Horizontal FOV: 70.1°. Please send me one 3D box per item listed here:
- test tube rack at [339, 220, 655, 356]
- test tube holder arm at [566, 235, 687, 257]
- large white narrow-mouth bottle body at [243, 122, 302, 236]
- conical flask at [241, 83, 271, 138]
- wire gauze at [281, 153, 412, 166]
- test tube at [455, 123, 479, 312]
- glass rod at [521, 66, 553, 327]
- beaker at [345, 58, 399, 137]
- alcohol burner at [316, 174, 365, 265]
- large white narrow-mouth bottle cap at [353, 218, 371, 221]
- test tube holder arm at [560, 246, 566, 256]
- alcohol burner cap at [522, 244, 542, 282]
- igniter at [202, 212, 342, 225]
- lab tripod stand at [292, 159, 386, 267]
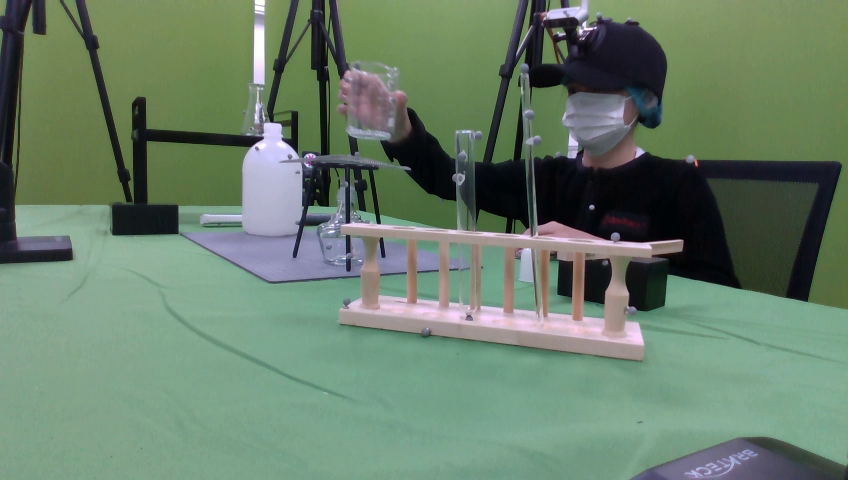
[{"bbox_3d":[0.056,0.032,0.495,0.242,0.085,0.067,4,7,15],"label":"test tube rack"},{"bbox_3d":[0.215,0.006,0.629,0.179,0.015,0.013,-3,9,-30],"label":"test tube holder arm"},{"bbox_3d":[-0.264,-0.109,1.061,0.102,0.194,0.102,2,8,0],"label":"large white narrow-mouth bottle body"},{"bbox_3d":[-0.384,-0.297,1.393,0.075,0.122,0.075,2,7,0],"label":"conical flask"},{"bbox_3d":[-0.102,-0.105,0.785,0.121,0.011,0.126,7,8,43],"label":"wire gauze"},{"bbox_3d":[0.034,-0.016,0.476,0.017,0.150,0.017,-2,10,1],"label":"test tube"},{"bbox_3d":[0.085,-0.028,0.454,0.008,0.199,0.008,-7,10,2],"label":"glass rod"},{"bbox_3d":[-0.074,-0.200,0.859,0.074,0.100,0.083,1,5,-42],"label":"beaker"},{"bbox_3d":[-0.102,-0.028,0.790,0.078,0.119,0.078,0,6,0],"label":"alcohol burner"},{"bbox_3d":[-0.121,-0.029,1.184,0.038,0.024,0.037,2,8,0],"label":"large white narrow-mouth bottle cap"},{"bbox_3d":[0.173,0.007,0.611,0.088,0.015,0.010,-3,9,-30],"label":"test tube holder arm"},{"bbox_3d":[0.136,0.026,0.740,0.034,0.048,0.034,1,6,0],"label":"alcohol burner cap"},{"bbox_3d":[-0.298,-0.044,1.216,0.278,0.025,0.057,-3,-2,-32],"label":"igniter"},{"bbox_3d":[-0.105,-0.039,0.797,0.148,0.131,0.148,2,5,0],"label":"lab tripod stand"}]
